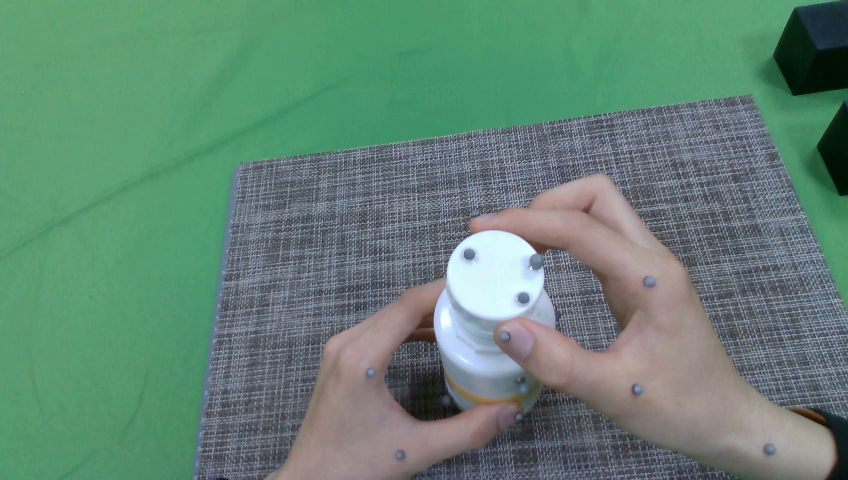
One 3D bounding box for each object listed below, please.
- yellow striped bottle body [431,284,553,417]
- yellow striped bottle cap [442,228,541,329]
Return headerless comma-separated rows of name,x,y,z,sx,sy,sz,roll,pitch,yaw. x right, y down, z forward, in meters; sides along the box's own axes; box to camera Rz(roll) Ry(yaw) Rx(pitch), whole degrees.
yellow striped bottle body,0.037,0.055,0.337,0.063,0.121,0.062,-2,61,4
yellow striped bottle cap,0.030,0.017,0.274,0.044,0.019,0.044,0,66,1
